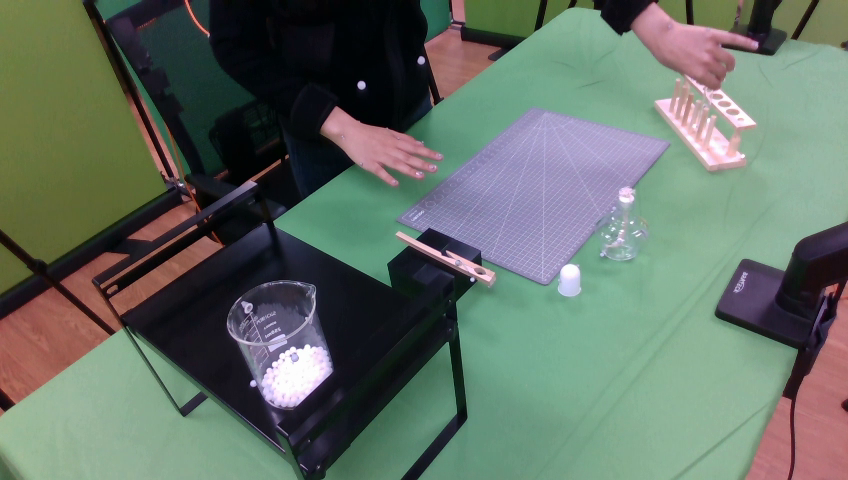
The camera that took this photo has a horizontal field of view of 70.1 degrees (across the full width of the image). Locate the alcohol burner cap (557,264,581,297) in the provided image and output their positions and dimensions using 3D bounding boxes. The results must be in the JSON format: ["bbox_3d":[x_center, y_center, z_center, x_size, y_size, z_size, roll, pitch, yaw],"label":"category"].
[{"bbox_3d":[0.209,0.055,0.866,0.034,0.048,0.033,-4,41,4],"label":"alcohol burner cap"}]

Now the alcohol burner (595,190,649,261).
[{"bbox_3d":[0.294,-0.028,0.894,0.078,0.119,0.077,-4,43,4],"label":"alcohol burner"}]

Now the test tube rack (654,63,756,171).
[{"bbox_3d":[0.510,-0.233,1.120,0.067,0.085,0.241,-8,41,-1],"label":"test tube rack"}]

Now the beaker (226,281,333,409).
[{"bbox_3d":[-0.123,0.096,0.545,0.073,0.101,0.084,27,51,33],"label":"beaker"}]

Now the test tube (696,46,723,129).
[{"bbox_3d":[0.489,-0.259,1.035,0.017,0.151,0.017,-4,41,4],"label":"test tube"}]

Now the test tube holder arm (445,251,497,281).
[{"bbox_3d":[0.063,0.037,0.851,0.087,0.015,0.010,23,55,31],"label":"test tube holder arm"}]

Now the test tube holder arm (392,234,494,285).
[{"bbox_3d":[0.024,0.026,0.871,0.177,0.015,0.013,21,55,30],"label":"test tube holder arm"}]
